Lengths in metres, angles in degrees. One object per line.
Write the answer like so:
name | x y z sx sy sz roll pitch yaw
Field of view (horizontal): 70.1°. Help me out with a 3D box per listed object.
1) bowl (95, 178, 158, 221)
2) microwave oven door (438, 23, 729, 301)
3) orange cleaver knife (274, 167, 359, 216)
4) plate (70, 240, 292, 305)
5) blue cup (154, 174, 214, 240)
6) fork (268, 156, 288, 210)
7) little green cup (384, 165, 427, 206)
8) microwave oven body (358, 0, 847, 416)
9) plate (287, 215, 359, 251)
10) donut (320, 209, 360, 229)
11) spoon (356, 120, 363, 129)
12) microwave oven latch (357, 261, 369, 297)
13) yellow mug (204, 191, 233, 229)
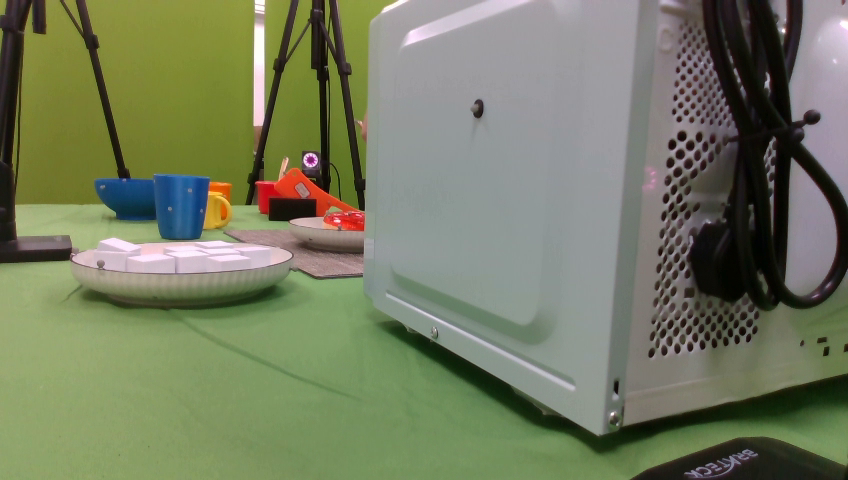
bowl | -0.576 -0.081 1.217 0.151 0.077 0.151 3 8 0
microwave oven door | 0.181 -0.072 0.620 0.358 0.243 0.039 -2 8 -29
orange cleaver knife | -0.238 -0.090 1.381 0.212 0.077 0.012 31 0 -19
plate | -0.242 0.031 0.618 0.208 0.039 0.207 2 8 0
blue cup | -0.390 -0.053 0.978 0.093 0.100 0.092 3 6 0
fork | -0.360 -0.144 1.508 0.028 0.018 0.207 2 49 0
little green cup | -0.026 -0.083 0.941 0.061 0.038 0.061 -33 -10 -6
microwave oven body | 0.211 -0.047 0.474 0.444 0.260 0.324 -1 7 -28
plate | -0.111 -0.012 0.960 0.209 0.038 0.209 3 8 0
donut | -0.115 -0.023 0.961 0.099 0.048 0.099 5 8 0
spoon | -0.062 -0.141 0.979 0.042 0.021 0.193 3 42 -43
microwave oven latch | -0.019 0.033 0.531 0.079 0.029 0.030 -1 7 -27
yellow mug | -0.415 -0.057 1.132 0.130 0.064 0.100 6 8 16
